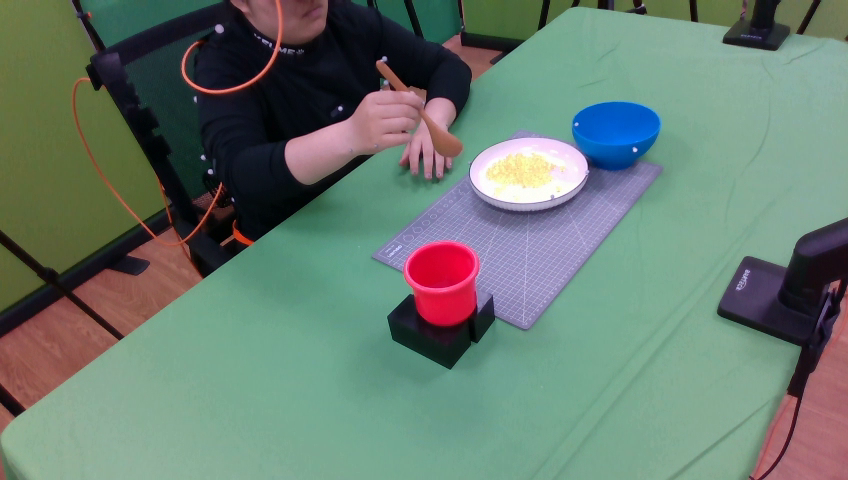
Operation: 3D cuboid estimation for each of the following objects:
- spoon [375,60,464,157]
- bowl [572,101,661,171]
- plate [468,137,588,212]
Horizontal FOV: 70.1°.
[{"bbox_3d":[-0.007,-0.181,0.853,0.041,0.195,0.021,-22,39,31],"label":"spoon"},{"bbox_3d":[0.339,-0.177,1.079,0.151,0.077,0.150,-5,40,5],"label":"bowl"},{"bbox_3d":[0.181,-0.112,1.064,0.207,0.039,0.206,-5,40,5],"label":"plate"}]
